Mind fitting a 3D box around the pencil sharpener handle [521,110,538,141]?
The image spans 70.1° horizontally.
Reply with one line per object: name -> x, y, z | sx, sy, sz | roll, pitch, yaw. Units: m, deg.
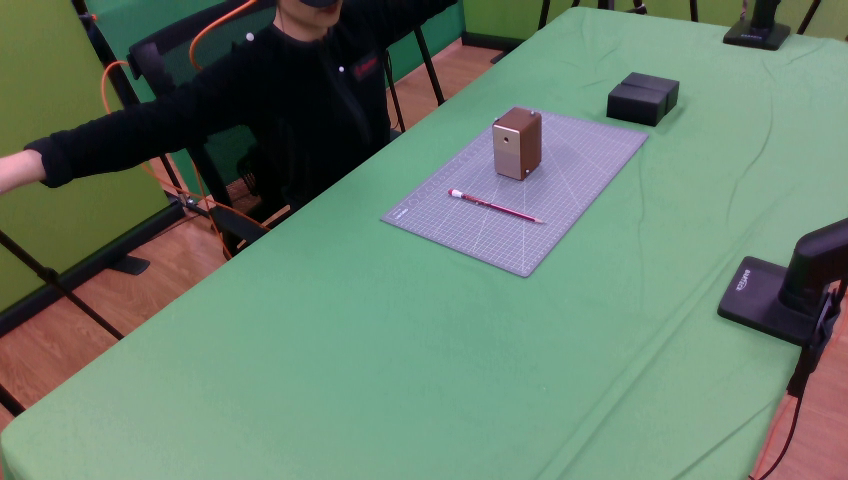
pencil sharpener handle -> 0.198, -0.214, 1.106 | 0.036, 0.068, 0.031 | 30, 53, 25

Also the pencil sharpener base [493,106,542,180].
pencil sharpener base -> 0.170, -0.175, 1.085 | 0.061, 0.107, 0.077 | 23, 49, 33

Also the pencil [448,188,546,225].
pencil -> 0.122, -0.057, 1.033 | 0.192, 0.012, 0.012 | 22, 50, 30
